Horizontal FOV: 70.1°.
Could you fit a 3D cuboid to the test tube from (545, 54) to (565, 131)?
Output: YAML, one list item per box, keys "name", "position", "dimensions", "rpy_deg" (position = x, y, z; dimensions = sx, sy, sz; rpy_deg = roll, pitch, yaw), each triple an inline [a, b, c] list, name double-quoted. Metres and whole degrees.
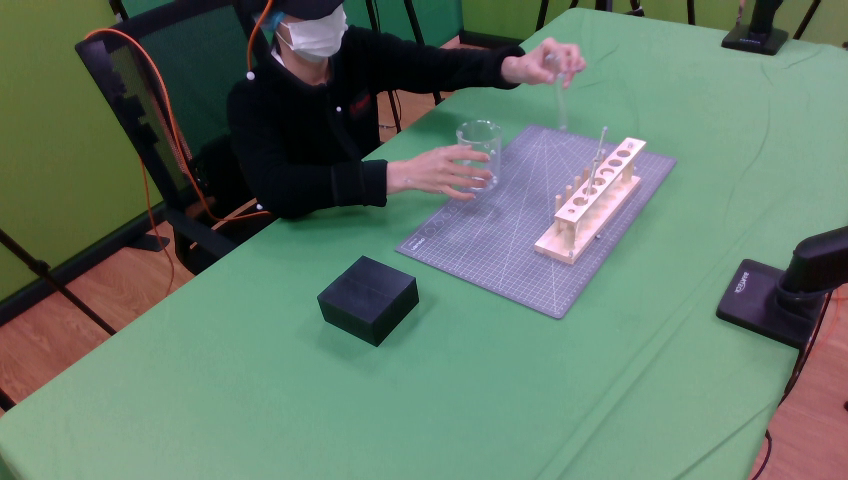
- name: "test tube"
  position: [0.211, -0.232, 0.970]
  dimensions: [0.017, 0.151, 0.017]
  rpy_deg: [-10, 50, 13]

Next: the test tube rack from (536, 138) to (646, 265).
- name: "test tube rack"
  position: [0.268, -0.071, 0.964]
  dimensions: [0.066, 0.085, 0.243]
  rpy_deg: [23, 49, 32]

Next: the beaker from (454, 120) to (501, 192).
- name: "beaker"
  position: [0.090, -0.137, 0.994]
  dimensions: [0.073, 0.100, 0.084]
  rpy_deg: [25, 47, 31]

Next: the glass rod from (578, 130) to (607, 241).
- name: "glass rod"
  position: [0.240, -0.071, 0.866]
  dimensions: [0.008, 0.200, 0.008]
  rpy_deg: [0, 43, 1]
